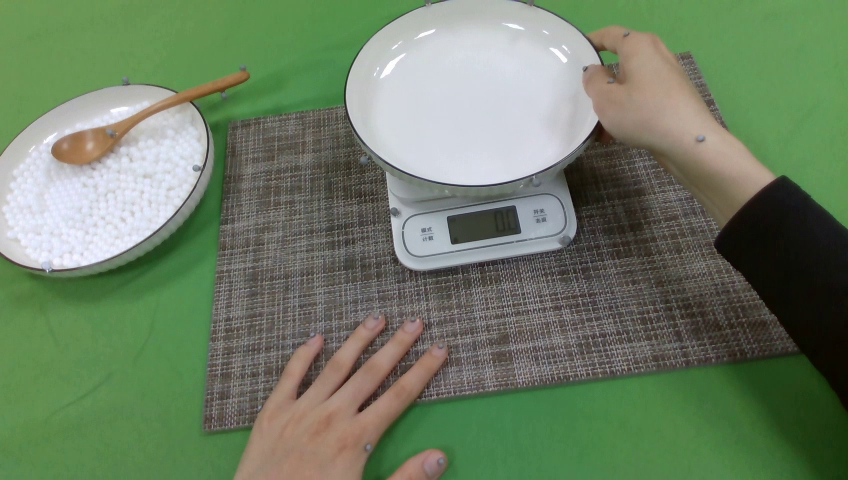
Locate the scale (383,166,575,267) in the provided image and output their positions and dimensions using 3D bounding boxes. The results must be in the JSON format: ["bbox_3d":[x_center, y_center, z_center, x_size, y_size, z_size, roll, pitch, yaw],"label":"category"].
[{"bbox_3d":[0.037,-0.076,0.522,0.148,0.032,0.199,-9,60,2],"label":"scale"}]

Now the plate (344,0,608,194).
[{"bbox_3d":[0.041,-0.118,0.493,0.207,0.039,0.205,-2,59,4],"label":"plate"}]

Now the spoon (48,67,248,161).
[{"bbox_3d":[-0.255,-0.120,0.563,0.194,0.022,0.041,-25,60,0],"label":"spoon"}]

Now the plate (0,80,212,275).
[{"bbox_3d":[-0.291,-0.057,0.549,0.209,0.038,0.207,-2,60,4],"label":"plate"}]
